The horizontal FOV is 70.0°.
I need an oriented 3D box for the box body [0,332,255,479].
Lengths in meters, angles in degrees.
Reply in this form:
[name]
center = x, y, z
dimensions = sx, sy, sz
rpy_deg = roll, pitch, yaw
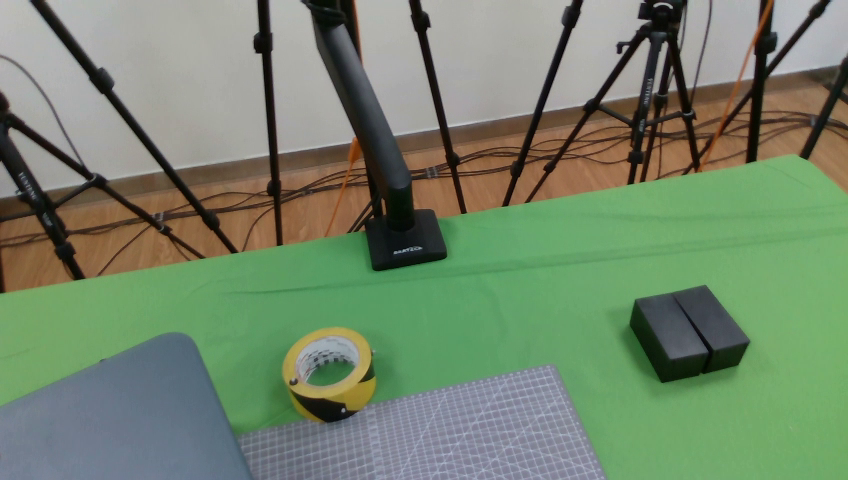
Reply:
[box body]
center = -0.342, 0.291, 0.575
dimensions = 0.364, 0.162, 0.251
rpy_deg = -26, 47, -21

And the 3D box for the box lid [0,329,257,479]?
[box lid]
center = -0.345, 0.236, 0.523
dimensions = 0.372, 0.015, 0.260
rpy_deg = -25, 48, -21

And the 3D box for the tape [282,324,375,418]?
[tape]
center = -0.122, 0.165, 0.772
dimensions = 0.117, 0.053, 0.115
rpy_deg = -2, 41, 2
